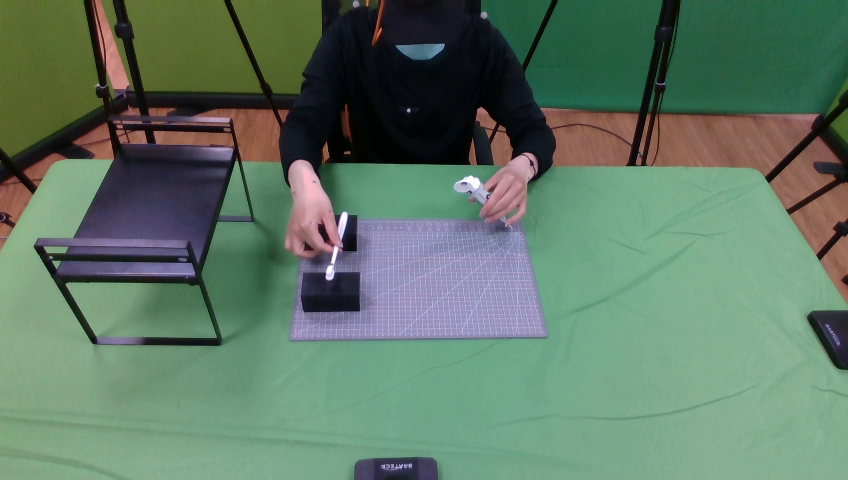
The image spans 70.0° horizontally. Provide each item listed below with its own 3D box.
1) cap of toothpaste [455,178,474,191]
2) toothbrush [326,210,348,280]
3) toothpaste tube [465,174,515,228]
[{"bbox_3d":[0.075,-0.104,1.117,0.037,0.037,0.011,0,62,-4],"label":"cap of toothpaste"},{"bbox_3d":[-0.157,0.003,1.096,0.014,0.017,0.181,-1,41,5],"label":"toothbrush"},{"bbox_3d":[0.129,-0.077,1.187,0.034,0.166,0.054,-38,44,16],"label":"toothpaste tube"}]
